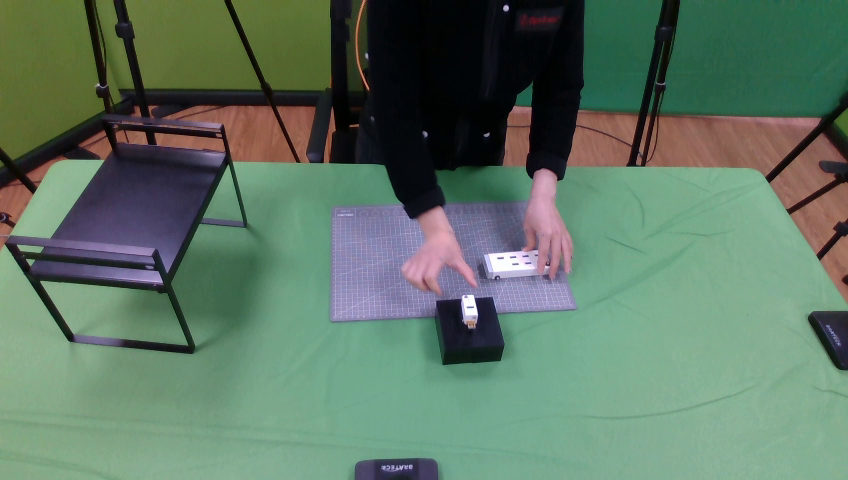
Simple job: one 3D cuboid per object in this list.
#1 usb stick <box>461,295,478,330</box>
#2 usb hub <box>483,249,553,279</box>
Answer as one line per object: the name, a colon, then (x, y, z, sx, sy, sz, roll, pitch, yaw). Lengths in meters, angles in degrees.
usb stick: (0.076, 0.122, 1.012, 0.021, 0.027, 0.059, 0, 49, -7)
usb hub: (0.179, 0.046, 1.158, 0.125, 0.025, 0.049, -4, 47, -7)
